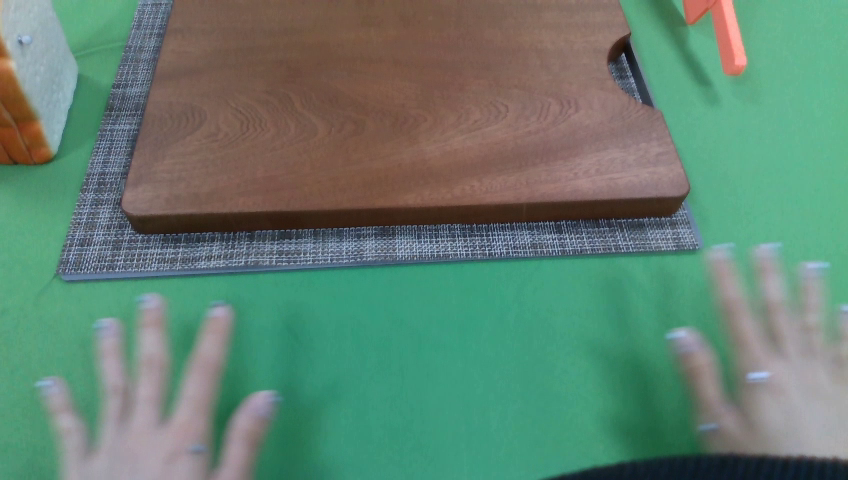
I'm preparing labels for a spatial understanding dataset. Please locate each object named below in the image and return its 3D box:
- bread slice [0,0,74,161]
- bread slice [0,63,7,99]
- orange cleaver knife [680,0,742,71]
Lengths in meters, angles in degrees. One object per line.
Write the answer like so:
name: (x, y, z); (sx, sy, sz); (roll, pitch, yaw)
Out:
bread slice: (-0.287, -0.137, 0.436); (0.019, 0.132, 0.104); (-1, 57, -11)
bread slice: (-0.339, -0.136, 0.429); (0.018, 0.135, 0.106); (-4, 51, -12)
orange cleaver knife: (0.256, -0.242, 0.558); (0.012, 0.077, 0.210); (0, 76, -7)
